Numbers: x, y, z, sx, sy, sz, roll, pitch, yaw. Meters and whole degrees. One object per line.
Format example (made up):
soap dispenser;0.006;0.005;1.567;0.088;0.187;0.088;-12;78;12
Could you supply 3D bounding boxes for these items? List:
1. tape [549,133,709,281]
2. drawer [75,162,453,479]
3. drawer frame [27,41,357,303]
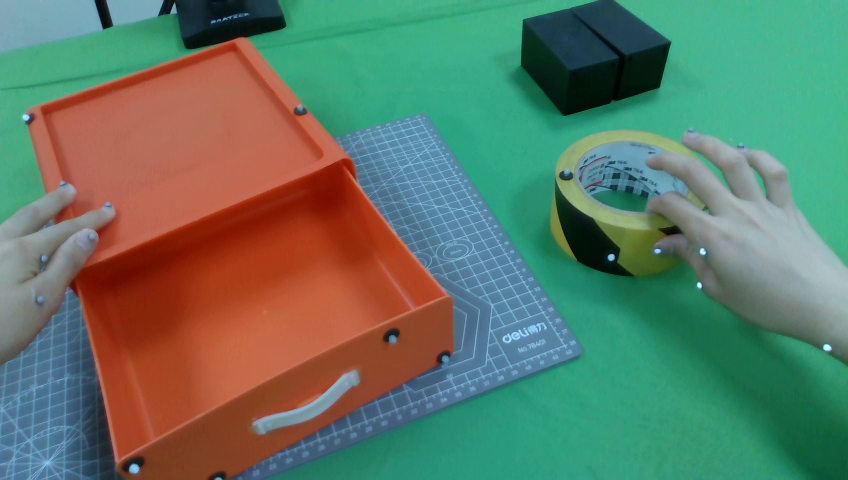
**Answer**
tape;0.153;-0.029;0.466;0.117;0.053;0.115;-1;47;2
drawer;-0.115;0.033;0.407;0.195;0.074;0.209;-25;51;-17
drawer frame;-0.187;-0.054;0.489;0.202;0.083;0.211;-27;51;-18
